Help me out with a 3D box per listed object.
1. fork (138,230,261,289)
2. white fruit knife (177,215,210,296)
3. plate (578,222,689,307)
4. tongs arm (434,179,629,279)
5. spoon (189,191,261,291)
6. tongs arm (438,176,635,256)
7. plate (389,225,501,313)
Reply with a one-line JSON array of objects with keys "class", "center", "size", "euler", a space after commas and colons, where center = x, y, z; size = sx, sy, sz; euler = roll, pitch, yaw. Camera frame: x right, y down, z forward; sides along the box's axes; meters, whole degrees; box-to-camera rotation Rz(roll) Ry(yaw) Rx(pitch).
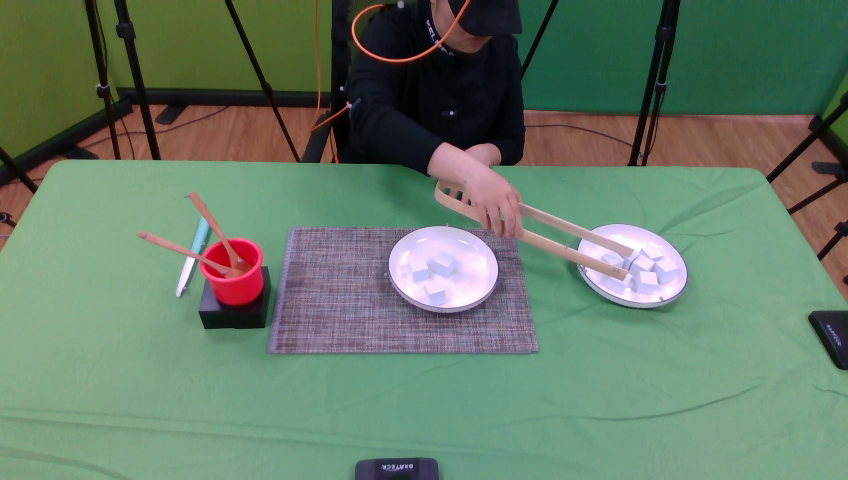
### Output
[{"class": "fork", "center": [-0.360, 0.032, 0.981], "size": [0.208, 0.018, 0.028], "euler": [31, 61, -30]}, {"class": "white fruit knife", "center": [-0.435, 0.025, 1.148], "size": [0.027, 0.016, 0.206], "euler": [-18, 45, 18]}, {"class": "plate", "center": [0.396, 0.050, 1.165], "size": [0.209, 0.038, 0.208], "euler": [2, 47, -2]}, {"class": "tongs arm", "center": [0.192, -0.022, 1.117], "size": [0.384, 0.026, 0.050], "euler": [22, 46, 8]}, {"class": "spoon", "center": [-0.333, 0.001, 1.011], "size": [0.041, 0.194, 0.021], "euler": [-34, 15, -25]}, {"class": "tongs arm", "center": [0.208, -0.047, 1.146], "size": [0.387, 0.028, 0.028], "euler": [21, 49, 7]}, {"class": "plate", "center": [0.038, 0.057, 1.129], "size": [0.208, 0.039, 0.206], "euler": [2, 46, -2]}]
